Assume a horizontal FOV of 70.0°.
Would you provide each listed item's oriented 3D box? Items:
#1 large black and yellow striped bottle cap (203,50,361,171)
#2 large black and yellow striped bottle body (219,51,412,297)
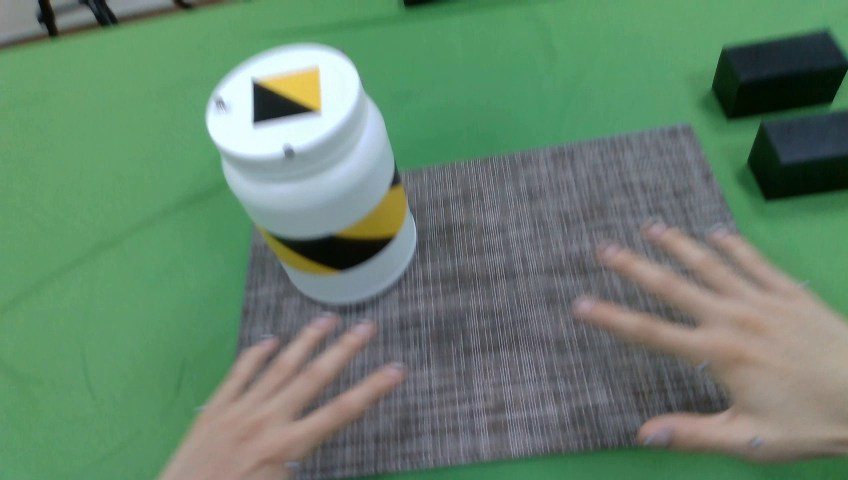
[{"bbox_3d":[-0.104,-0.098,0.443,0.115,0.019,0.114,-4,53,6],"label":"large black and yellow striped bottle cap"},{"bbox_3d":[-0.089,-0.050,0.509,0.130,0.186,0.129,-5,54,8],"label":"large black and yellow striped bottle body"}]
